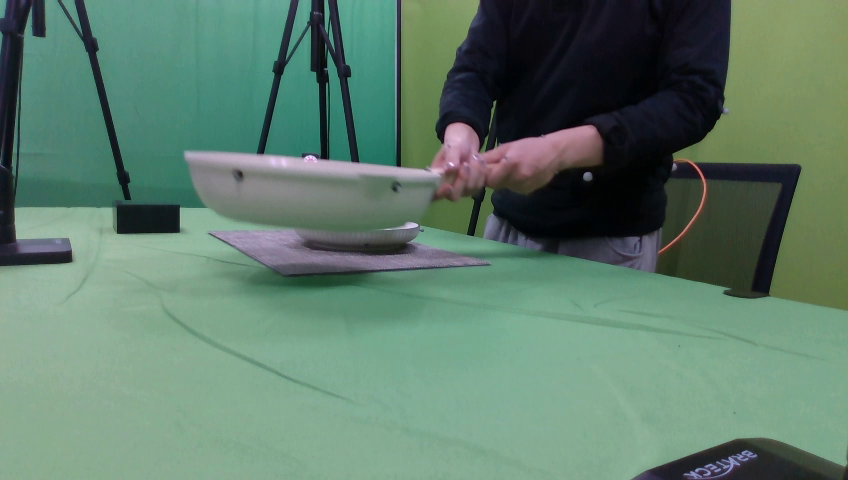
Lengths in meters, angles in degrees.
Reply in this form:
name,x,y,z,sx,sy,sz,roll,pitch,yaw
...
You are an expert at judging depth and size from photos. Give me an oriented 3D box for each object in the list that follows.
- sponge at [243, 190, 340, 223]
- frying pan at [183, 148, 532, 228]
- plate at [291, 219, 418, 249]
name,x,y,z,sx,sy,sz,roll,pitch,yaw
sponge,-0.298,-0.077,1.388,0.207,0.061,0.118,2,8,-7
frying pan,-0.044,-0.082,0.778,0.490,0.102,0.305,-10,16,-31
plate,-0.115,-0.013,1.002,0.208,0.039,0.207,2,7,0
